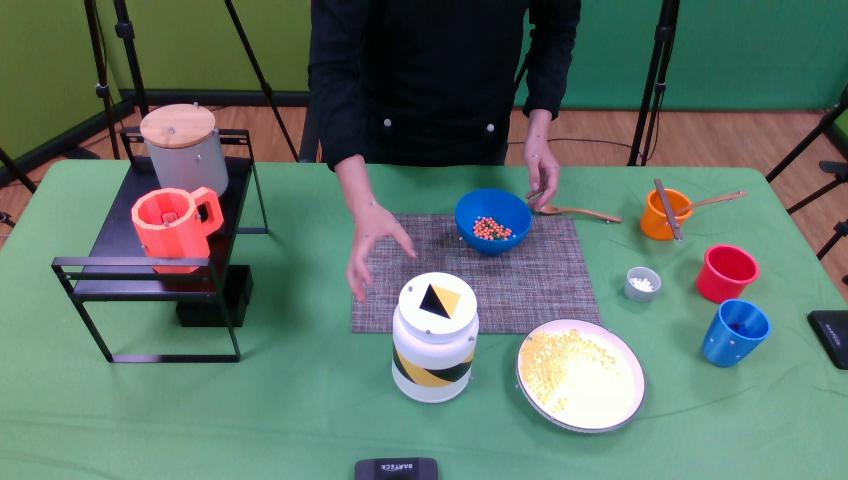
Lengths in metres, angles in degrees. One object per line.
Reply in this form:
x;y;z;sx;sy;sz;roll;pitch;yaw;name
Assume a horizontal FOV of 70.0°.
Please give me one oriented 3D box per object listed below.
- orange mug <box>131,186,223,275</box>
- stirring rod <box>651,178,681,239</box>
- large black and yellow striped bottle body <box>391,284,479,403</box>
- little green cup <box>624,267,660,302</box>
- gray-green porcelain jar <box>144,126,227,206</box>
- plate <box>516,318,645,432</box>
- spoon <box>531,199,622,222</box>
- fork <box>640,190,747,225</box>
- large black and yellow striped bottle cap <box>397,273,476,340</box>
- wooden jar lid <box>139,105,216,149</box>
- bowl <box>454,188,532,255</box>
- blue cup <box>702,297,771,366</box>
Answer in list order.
-0.354;-0.023;0.888;0.083;0.101;0.126;31;56;24;orange mug
0.480;-0.065;1.204;0.014;0.006;0.175;2;46;-3;stirring rod
0.015;0.153;0.938;0.131;0.185;0.130;2;46;-2;large black and yellow striped bottle body
0.406;0.084;1.135;0.061;0.039;0.061;3;45;-3;little green cup
-0.375;-0.126;0.967;0.106;0.127;0.105;2;46;-2;gray-green porcelain jar
0.253;0.221;0.992;0.209;0.038;0.208;2;46;-2;plate
0.322;-0.060;1.279;0.194;0.022;0.041;8;32;4;spoon
0.533;-0.065;1.211;0.207;0.019;0.028;-22;28;39;fork
0.018;0.094;0.878;0.115;0.019;0.114;3;46;-3;large black and yellow striped bottle cap
-0.372;-0.169;0.920;0.108;0.021;0.107;4;44;-4;wooden jar lid
0.130;-0.025;1.186;0.151;0.077;0.150;3;45;-2;bowl
0.519;0.162;1.025;0.093;0.101;0.092;3;45;-3;blue cup
